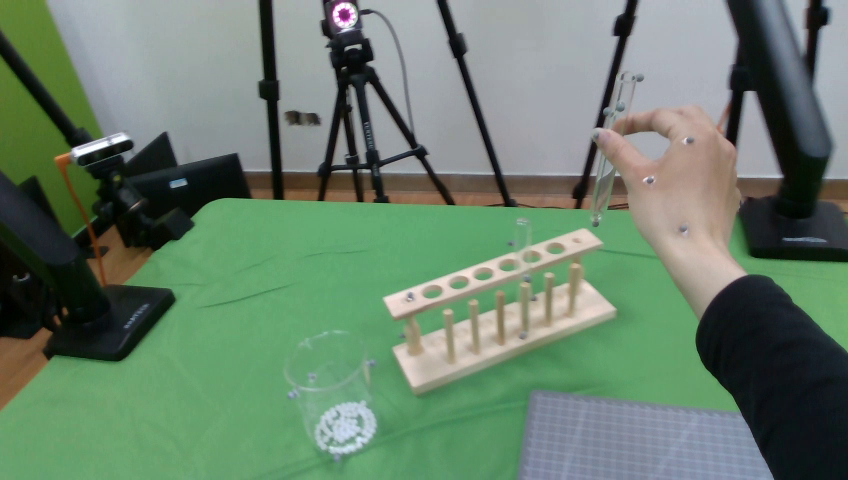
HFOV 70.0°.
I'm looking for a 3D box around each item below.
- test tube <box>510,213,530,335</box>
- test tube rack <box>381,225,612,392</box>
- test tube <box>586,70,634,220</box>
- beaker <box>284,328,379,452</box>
[{"bbox_3d":[0.099,0.038,0.616,0.017,0.152,0.017,-6,34,4],"label":"test tube"},{"bbox_3d":[0.083,0.070,0.652,0.243,0.086,0.066,-18,37,-15],"label":"test tube rack"},{"bbox_3d":[0.155,-0.074,0.513,0.017,0.151,0.017,-2,46,2],"label":"test tube"},{"bbox_3d":[-0.085,0.142,0.570,0.074,0.101,0.083,-27,39,-26],"label":"beaker"}]
